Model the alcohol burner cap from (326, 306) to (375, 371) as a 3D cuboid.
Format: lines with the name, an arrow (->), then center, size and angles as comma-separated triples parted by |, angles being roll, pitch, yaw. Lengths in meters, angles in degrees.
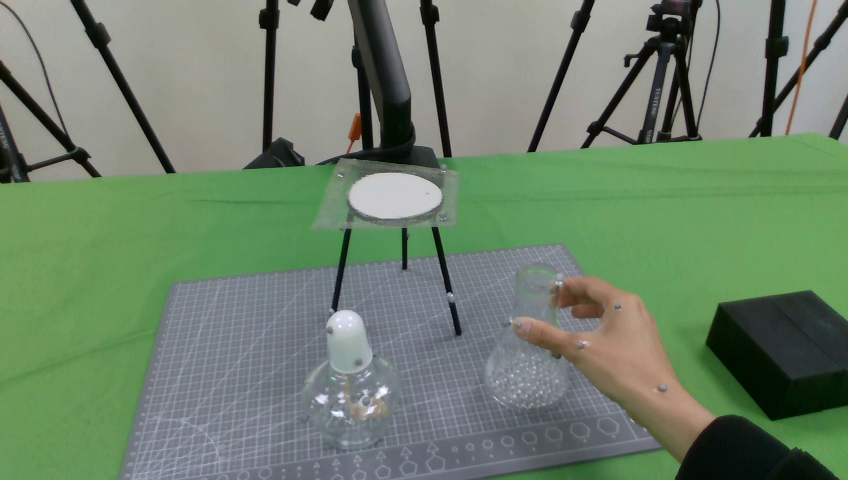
alcohol burner cap -> -0.056, 0.070, 0.449 | 0.034, 0.048, 0.033 | -4, 38, 3

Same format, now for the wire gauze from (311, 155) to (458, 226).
wire gauze -> -0.030, -0.046, 0.551 | 0.121, 0.011, 0.124 | 3, 34, 2

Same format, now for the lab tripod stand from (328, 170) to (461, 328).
lab tripod stand -> -0.024, 0.010, 0.589 | 0.148, 0.132, 0.147 | 2, 33, -1

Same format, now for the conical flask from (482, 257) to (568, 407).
conical flask -> 0.089, 0.074, 0.504 | 0.075, 0.123, 0.074 | 1, 34, 0

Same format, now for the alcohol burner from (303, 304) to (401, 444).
alcohol burner -> -0.057, 0.100, 0.470 | 0.078, 0.120, 0.077 | 0, 32, 0
